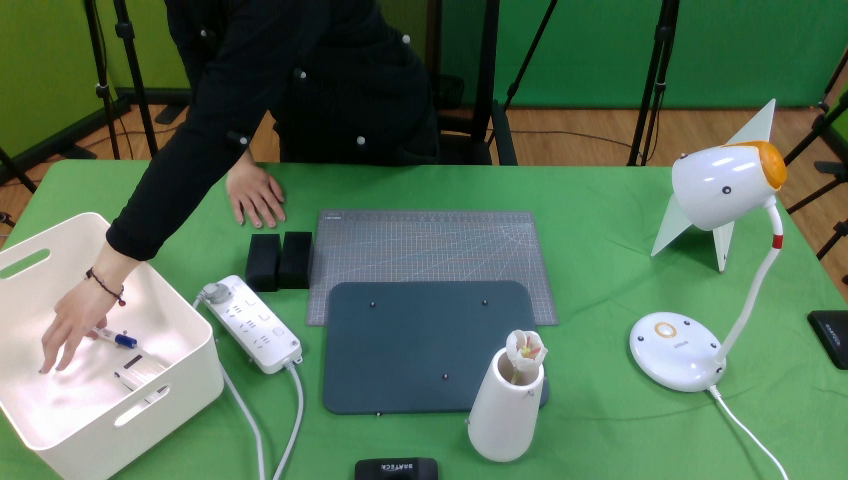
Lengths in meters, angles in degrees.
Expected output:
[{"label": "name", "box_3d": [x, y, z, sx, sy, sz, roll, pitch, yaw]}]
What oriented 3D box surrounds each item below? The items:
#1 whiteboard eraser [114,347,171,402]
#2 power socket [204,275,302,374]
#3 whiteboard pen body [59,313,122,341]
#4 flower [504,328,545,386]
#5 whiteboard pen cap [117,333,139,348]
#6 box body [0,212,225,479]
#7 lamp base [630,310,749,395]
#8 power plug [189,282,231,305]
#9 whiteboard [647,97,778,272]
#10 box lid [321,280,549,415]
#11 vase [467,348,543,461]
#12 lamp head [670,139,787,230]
[{"label": "whiteboard eraser", "box_3d": [-0.420, 0.215, 0.936, 0.112, 0.042, 0.055, 25, 49, 22]}, {"label": "power socket", "box_3d": [-0.296, 0.140, 1.035, 0.072, 0.033, 0.225, -33, 57, -30]}, {"label": "whiteboard pen body", "box_3d": [-0.542, 0.148, 1.007, 0.140, 0.017, 0.017, 17, 47, 8]}, {"label": "flower", "box_3d": [0.114, 0.189, 0.790, 0.044, 0.363, 0.038, 34, 69, 19]}, {"label": "whiteboard pen cap", "box_3d": [-0.487, 0.164, 0.994, 0.033, 0.018, 0.018, 16, 47, 11]}, {"label": "box body", "box_3d": [-0.506, 0.155, 0.915, 0.362, 0.161, 0.254, 35, 54, 26]}, {"label": "lamp base", "box_3d": [0.447, 0.143, 0.984, 0.161, 0.181, 0.178, -24, 55, -24]}, {"label": "power plug", "box_3d": [-0.368, 0.097, 1.039, 0.072, 0.053, 0.035, -26, 55, -21]}, {"label": "whiteboard", "box_3d": [0.603, -0.078, 1.162, 0.144, 0.306, 0.216, 35, 51, 3]}, {"label": "box lid", "box_3d": [0.014, 0.174, 1.040, 0.372, 0.015, 0.261, 0, 47, -4]}, {"label": "vase", "box_3d": [0.116, 0.235, 0.860, 0.098, 0.201, 0.097, 1, 47, -1]}, {"label": "lamp head", "box_3d": [0.415, -0.078, 0.811, 0.113, 0.123, 0.112, 12, 70, -37]}]
